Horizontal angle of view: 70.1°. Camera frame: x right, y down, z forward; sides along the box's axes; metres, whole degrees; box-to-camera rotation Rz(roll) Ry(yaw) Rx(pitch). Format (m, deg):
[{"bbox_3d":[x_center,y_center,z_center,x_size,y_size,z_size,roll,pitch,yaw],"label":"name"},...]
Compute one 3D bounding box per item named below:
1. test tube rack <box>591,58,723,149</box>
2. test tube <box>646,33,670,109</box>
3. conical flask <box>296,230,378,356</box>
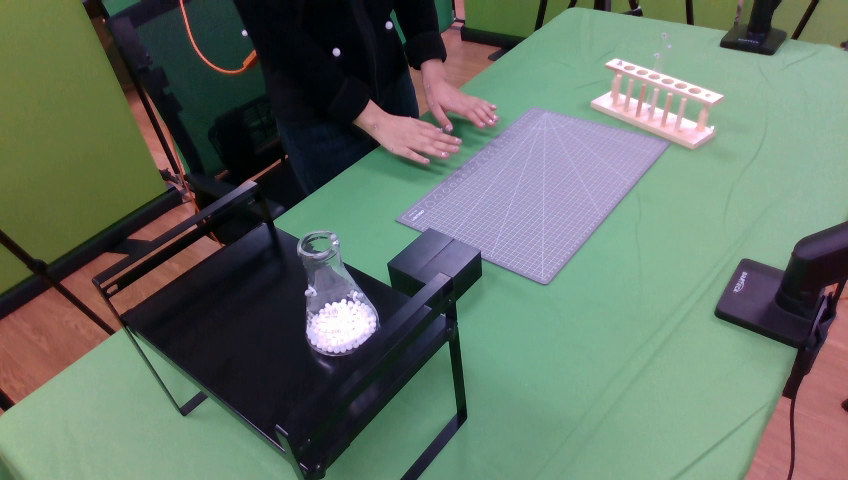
[{"bbox_3d":[0.442,-0.269,1.171,0.067,0.085,0.240,-30,46,-24],"label":"test tube rack"},{"bbox_3d":[0.445,-0.320,1.154,0.017,0.151,0.017,-1,41,2],"label":"test tube"},{"bbox_3d":[-0.090,0.048,0.578,0.075,0.122,0.075,-5,41,5],"label":"conical flask"}]
